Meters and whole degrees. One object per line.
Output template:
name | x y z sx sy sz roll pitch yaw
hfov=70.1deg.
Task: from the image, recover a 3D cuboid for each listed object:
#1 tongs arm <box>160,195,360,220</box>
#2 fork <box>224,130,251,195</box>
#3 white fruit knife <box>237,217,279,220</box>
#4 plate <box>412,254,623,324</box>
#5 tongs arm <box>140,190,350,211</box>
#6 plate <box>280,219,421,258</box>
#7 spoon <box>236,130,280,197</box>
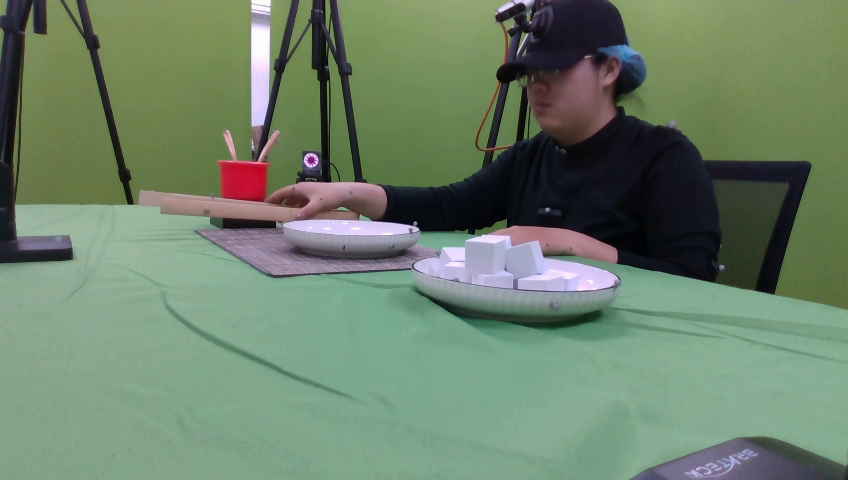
tongs arm | -0.256 -0.048 1.038 0.028 0.027 0.390 3 0 45
fork | -0.372 -0.155 1.193 0.028 0.018 0.206 -17 54 -13
white fruit knife | -0.304 -0.050 1.328 0.208 0.016 0.027 -3 -19 -29
plate | 0.090 0.047 0.609 0.209 0.038 0.209 2 7 0
tongs arm | -0.299 -0.057 1.094 0.387 0.026 0.050 4 2 -35
plate | -0.108 -0.002 0.902 0.208 0.039 0.207 3 7 0
spoon | -0.321 -0.153 1.192 0.041 0.193 0.022 0 -37 19
